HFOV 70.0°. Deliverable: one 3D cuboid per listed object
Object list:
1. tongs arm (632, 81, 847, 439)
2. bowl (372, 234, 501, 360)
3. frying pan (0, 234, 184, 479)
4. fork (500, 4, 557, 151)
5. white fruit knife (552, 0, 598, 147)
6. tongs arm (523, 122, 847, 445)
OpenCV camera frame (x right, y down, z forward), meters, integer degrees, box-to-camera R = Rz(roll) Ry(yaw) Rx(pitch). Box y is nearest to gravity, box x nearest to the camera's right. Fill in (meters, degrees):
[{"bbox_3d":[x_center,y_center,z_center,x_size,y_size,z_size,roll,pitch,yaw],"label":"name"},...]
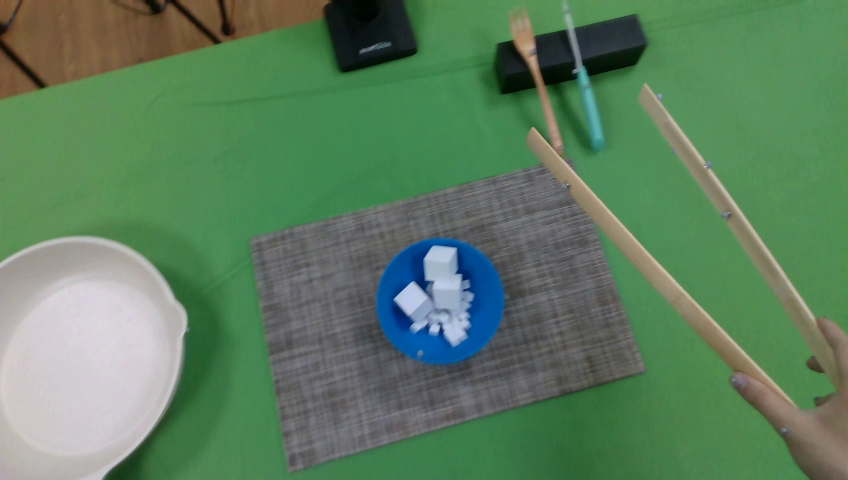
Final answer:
[{"bbox_3d":[0.286,-0.002,0.574,0.051,0.027,0.381,-18,65,-17],"label":"tongs arm"},{"bbox_3d":[0.015,0.075,0.739,0.151,0.077,0.150,0,73,1],"label":"bowl"},{"bbox_3d":[-0.399,0.229,0.689,0.307,0.103,0.483,-17,65,-3],"label":"frying pan"},{"bbox_3d":[0.145,-0.217,0.824,0.028,0.018,0.207,-21,94,-10],"label":"fork"},{"bbox_3d":[0.203,-0.228,0.826,0.016,0.027,0.207,-16,90,2],"label":"white fruit knife"},{"bbox_3d":[0.217,0.027,0.552,0.028,0.028,0.384,-29,68,-25],"label":"tongs arm"}]
